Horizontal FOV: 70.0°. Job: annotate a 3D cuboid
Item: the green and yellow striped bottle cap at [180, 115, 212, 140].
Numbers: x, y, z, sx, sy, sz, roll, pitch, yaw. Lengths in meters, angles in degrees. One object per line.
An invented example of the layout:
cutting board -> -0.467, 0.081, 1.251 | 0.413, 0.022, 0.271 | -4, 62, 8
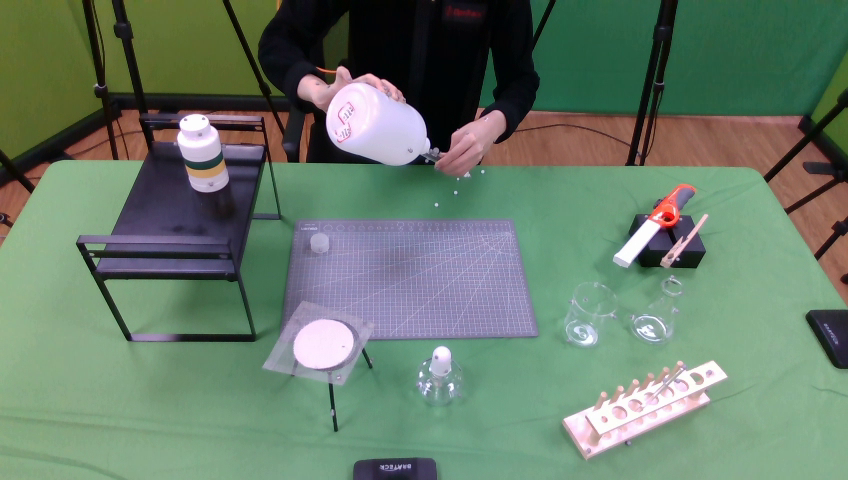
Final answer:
green and yellow striped bottle cap -> -0.358, -0.177, 0.951 | 0.045, 0.020, 0.045 | 2, 45, -2

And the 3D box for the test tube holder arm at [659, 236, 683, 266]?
test tube holder arm -> 0.472, 0.020, 1.149 | 0.010, 0.015, 0.088 | 35, 54, 27

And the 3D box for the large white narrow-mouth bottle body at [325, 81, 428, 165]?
large white narrow-mouth bottle body -> -0.057, -0.172, 0.953 | 0.101, 0.102, 0.195 | 43, 17, 31

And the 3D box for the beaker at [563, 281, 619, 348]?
beaker -> 0.283, 0.129, 1.041 | 0.074, 0.101, 0.083 | 11, 46, 6

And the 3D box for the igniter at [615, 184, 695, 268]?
igniter -> 0.459, -0.035, 1.196 | 0.057, 0.025, 0.276 | 33, 55, 27

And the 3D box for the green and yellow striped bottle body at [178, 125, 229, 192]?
green and yellow striped bottle body -> -0.361, -0.142, 0.989 | 0.063, 0.120, 0.063 | 2, 46, -2

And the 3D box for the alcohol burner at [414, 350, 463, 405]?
alcohol burner -> 0.023, 0.205, 0.939 | 0.078, 0.120, 0.077 | 1, 48, -1

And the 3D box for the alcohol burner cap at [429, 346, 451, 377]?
alcohol burner cap -> 0.026, 0.180, 0.912 | 0.034, 0.048, 0.033 | 1, 47, -1

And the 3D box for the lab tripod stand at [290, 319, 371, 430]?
lab tripod stand -> -0.146, 0.194, 0.923 | 0.148, 0.132, 0.147 | 1, 47, -1

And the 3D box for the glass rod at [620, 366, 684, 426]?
glass rod -> 0.323, 0.227, 0.866 | 0.008, 0.200, 0.008 | 5, 51, -7

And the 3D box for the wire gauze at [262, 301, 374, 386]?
wire gauze -> -0.150, 0.148, 0.873 | 0.121, 0.011, 0.124 | 14, 46, 12

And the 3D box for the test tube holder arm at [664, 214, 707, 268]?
test tube holder arm -> 0.507, -0.001, 1.171 | 0.013, 0.015, 0.178 | 34, 54, 26

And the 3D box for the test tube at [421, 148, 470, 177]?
test tube -> 0.040, -0.139, 1.089 | 0.151, 0.017, 0.017 | 18, 25, -53

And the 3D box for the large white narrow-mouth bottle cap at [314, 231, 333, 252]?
large white narrow-mouth bottle cap -> -0.195, 0.003, 1.178 | 0.038, 0.024, 0.037 | 2, 45, -2

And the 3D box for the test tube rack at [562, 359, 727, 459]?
test tube rack -> 0.341, 0.247, 0.940 | 0.243, 0.085, 0.066 | -16, 49, -18

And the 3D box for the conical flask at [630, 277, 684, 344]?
conical flask -> 0.408, 0.117, 1.045 | 0.075, 0.122, 0.075 | 2, 46, -2
